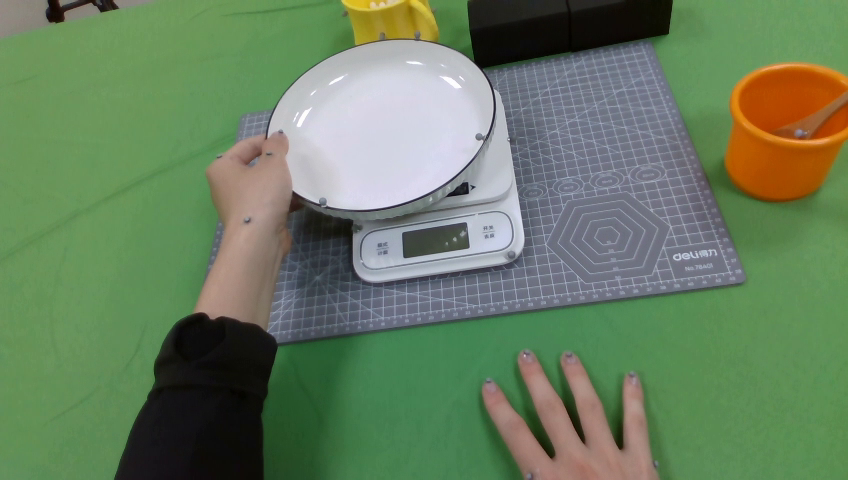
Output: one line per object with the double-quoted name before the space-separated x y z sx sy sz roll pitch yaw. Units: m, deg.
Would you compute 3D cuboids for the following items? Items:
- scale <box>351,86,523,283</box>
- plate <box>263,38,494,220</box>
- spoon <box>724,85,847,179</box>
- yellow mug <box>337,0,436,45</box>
"scale" 0.006 -0.058 0.553 0.148 0.032 0.199 -9 54 8
"plate" -0.040 -0.100 0.548 0.209 0.038 0.207 -4 57 7
"spoon" 0.311 -0.106 0.443 0.022 0.194 0.041 16 51 -30
"yellow mug" -0.034 -0.260 0.693 0.129 0.064 0.100 35 69 31
